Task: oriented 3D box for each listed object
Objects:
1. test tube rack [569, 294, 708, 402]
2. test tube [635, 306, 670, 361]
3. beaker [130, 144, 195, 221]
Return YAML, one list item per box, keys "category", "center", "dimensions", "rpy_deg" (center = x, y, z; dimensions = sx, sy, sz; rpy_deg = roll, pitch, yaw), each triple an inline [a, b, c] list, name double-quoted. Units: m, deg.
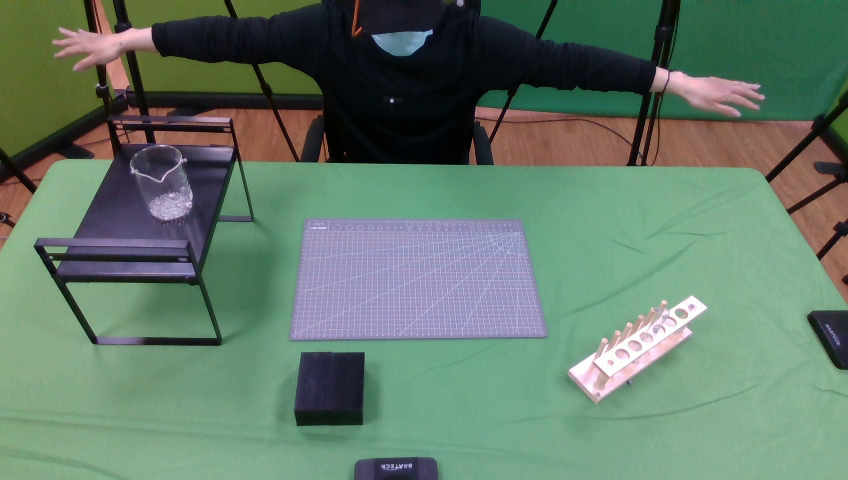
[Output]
- category: "test tube rack"
  center: [0.360, 0.167, 1.014]
  dimensions: [0.242, 0.085, 0.066]
  rpy_deg: [-25, 53, -25]
- category: "test tube"
  center: [0.358, 0.151, 0.960]
  dimensions: [0.017, 0.151, 0.017]
  rpy_deg: [1, 51, -1]
- category: "beaker"
  center: [-0.403, -0.085, 0.944]
  dimensions: [0.074, 0.101, 0.083]
  rpy_deg: [-15, 50, -17]
